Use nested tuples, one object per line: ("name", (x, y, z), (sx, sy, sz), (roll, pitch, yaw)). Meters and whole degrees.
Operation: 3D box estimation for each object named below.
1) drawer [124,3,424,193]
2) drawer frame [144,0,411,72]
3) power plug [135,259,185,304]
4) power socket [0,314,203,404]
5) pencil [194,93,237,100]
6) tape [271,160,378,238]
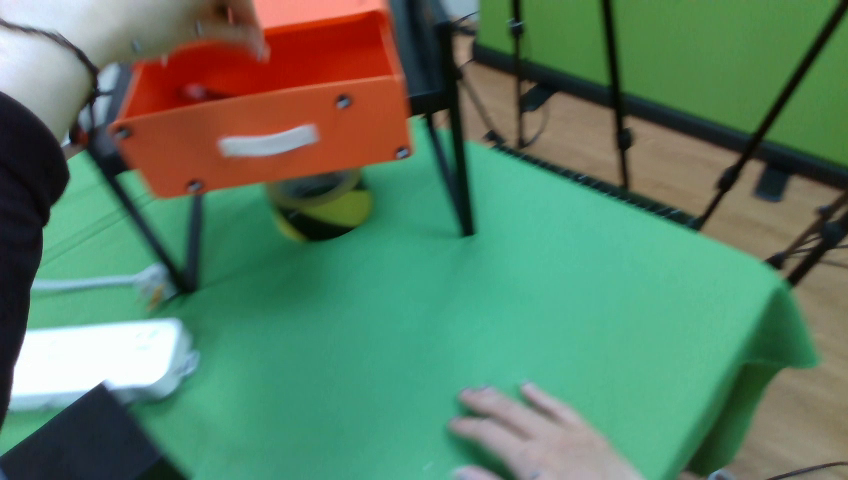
("drawer", (-0.110, -0.142, 0.489), (0.194, 0.074, 0.209), (-10, 46, 0))
("drawer frame", (-0.124, -0.210, 0.550), (0.202, 0.083, 0.211), (-11, 46, -1))
("power plug", (-0.277, 0.049, 0.627), (0.072, 0.035, 0.052), (-31, 32, 33))
("power socket", (-0.321, 0.111, 0.563), (0.226, 0.033, 0.071), (-5, 46, 5))
("pencil", (-0.124, -0.118, 0.494), (0.193, 0.012, 0.012), (3, 47, 28))
("tape", (-0.109, -0.062, 0.680), (0.117, 0.053, 0.115), (-3, 49, 4))
